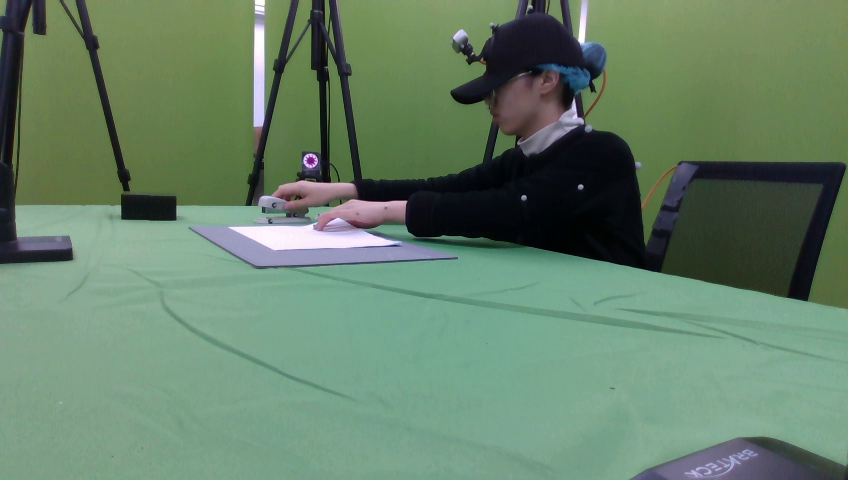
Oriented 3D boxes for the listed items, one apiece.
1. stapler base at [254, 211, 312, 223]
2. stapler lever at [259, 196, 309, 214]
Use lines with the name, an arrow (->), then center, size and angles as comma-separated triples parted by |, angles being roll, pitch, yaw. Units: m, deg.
stapler base -> -0.302, -0.052, 1.301 | 0.041, 0.024, 0.131 | 11, 10, 38
stapler lever -> -0.300, -0.076, 1.300 | 0.026, 0.040, 0.119 | 11, 11, 38
